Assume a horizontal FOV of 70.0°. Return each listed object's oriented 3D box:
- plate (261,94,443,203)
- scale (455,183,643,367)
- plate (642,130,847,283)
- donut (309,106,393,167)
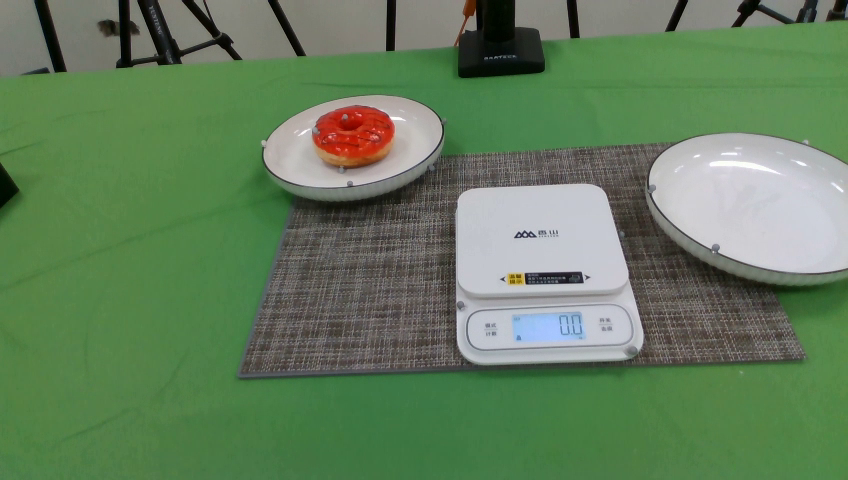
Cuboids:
[{"bbox_3d":[-0.081,-0.104,0.701,0.209,0.038,0.207,-4,40,4],"label":"plate"},{"bbox_3d":[0.102,0.022,0.541,0.148,0.032,0.199,-3,43,5],"label":"scale"},{"bbox_3d":[0.311,-0.032,0.569,0.207,0.039,0.205,-2,43,2],"label":"plate"},{"bbox_3d":[-0.084,-0.119,0.702,0.099,0.049,0.098,-3,40,3],"label":"donut"}]
